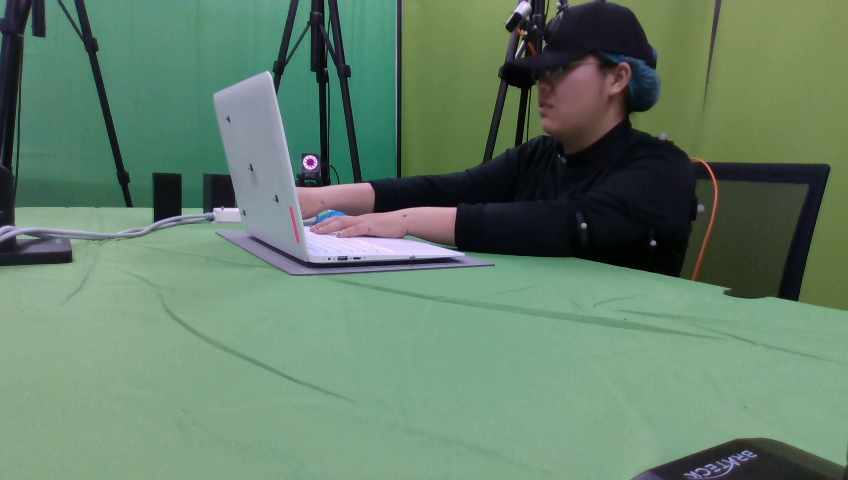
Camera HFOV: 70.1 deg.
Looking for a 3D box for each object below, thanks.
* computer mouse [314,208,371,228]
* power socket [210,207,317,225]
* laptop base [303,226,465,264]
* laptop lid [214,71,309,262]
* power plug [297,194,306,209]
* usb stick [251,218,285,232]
[{"bbox_3d":[-0.175,-0.047,1.293,0.118,0.041,0.062,-8,13,-34],"label":"computer mouse"},{"bbox_3d":[-0.334,-0.051,1.281,0.228,0.032,0.072,-1,8,-28],"label":"power socket"},{"bbox_3d":[-0.125,0.007,0.955,0.237,0.023,0.352,3,6,-30],"label":"laptop base"},{"bbox_3d":[-0.245,-0.105,0.870,0.013,0.241,0.355,-15,16,-27],"label":"laptop lid"},{"bbox_3d":[-0.281,-0.076,1.340,0.035,0.052,0.072,4,6,-18],"label":"power plug"},{"bbox_3d":[-0.290,-0.028,1.119,0.059,0.027,0.021,-4,-1,-31],"label":"usb stick"}]
